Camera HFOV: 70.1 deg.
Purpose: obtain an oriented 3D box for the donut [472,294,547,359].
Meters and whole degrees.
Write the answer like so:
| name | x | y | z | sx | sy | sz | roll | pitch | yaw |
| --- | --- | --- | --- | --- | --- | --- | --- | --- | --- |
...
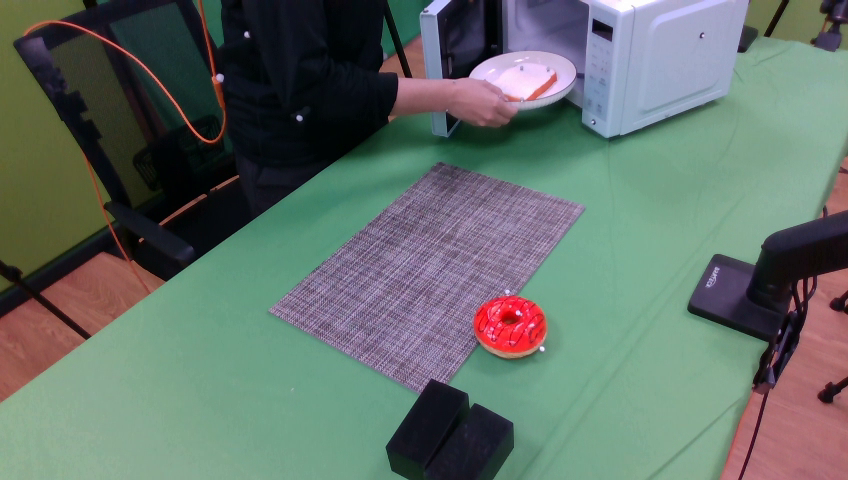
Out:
| name | x | y | z | sx | sy | sz | roll | pitch | yaw |
| --- | --- | --- | --- | --- | --- | --- | --- | --- | --- |
| donut | 0.114 | 0.114 | 0.803 | 0.099 | 0.048 | 0.098 | 0 | 40 | 1 |

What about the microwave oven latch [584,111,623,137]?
| name | x | y | z | sx | sy | sz | roll | pitch | yaw |
| --- | --- | --- | --- | --- | --- | --- | --- | --- | --- |
| microwave oven latch | 0.337 | -0.222 | 1.142 | 0.030 | 0.029 | 0.078 | -21 | 42 | -14 |

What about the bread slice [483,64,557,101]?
| name | x | y | z | sx | sy | sz | roll | pitch | yaw |
| --- | --- | --- | --- | --- | --- | --- | --- | --- | --- |
| bread slice | 0.192 | -0.307 | 1.176 | 0.104 | 0.019 | 0.132 | 26 | 52 | 32 |

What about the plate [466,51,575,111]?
| name | x | y | z | sx | sy | sz | roll | pitch | yaw |
| --- | --- | --- | --- | --- | --- | --- | --- | --- | --- |
| plate | 0.187 | -0.304 | 1.172 | 0.207 | 0.039 | 0.206 | -5 | 41 | 5 |

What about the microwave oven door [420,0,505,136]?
| name | x | y | z | sx | sy | sz | roll | pitch | yaw |
| --- | --- | --- | --- | --- | --- | --- | --- | --- | --- |
| microwave oven door | 0.089 | -0.408 | 1.237 | 0.039 | 0.245 | 0.356 | 12 | 44 | 21 |

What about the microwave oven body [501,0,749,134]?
| name | x | y | z | sx | sy | sz | roll | pitch | yaw |
| --- | --- | --- | --- | --- | --- | --- | --- | --- | --- |
| microwave oven body | 0.382 | -0.444 | 1.246 | 0.327 | 0.261 | 0.437 | -22 | 42 | -16 |
